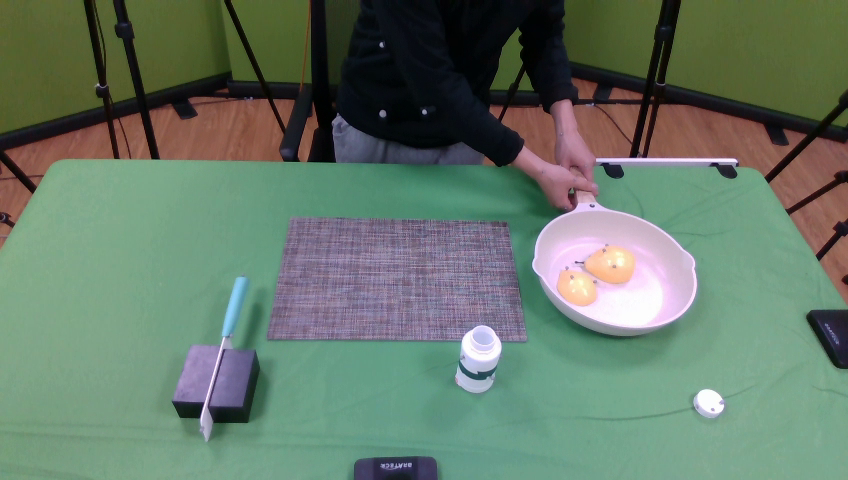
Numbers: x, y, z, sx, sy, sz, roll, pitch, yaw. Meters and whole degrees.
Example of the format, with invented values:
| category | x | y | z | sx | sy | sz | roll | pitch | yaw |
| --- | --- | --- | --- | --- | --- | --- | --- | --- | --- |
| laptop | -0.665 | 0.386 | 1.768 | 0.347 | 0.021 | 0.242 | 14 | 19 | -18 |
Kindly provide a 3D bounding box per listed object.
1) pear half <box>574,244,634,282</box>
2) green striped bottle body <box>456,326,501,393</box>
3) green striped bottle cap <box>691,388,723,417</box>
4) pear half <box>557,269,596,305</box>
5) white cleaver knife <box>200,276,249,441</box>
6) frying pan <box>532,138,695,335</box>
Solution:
| category | x | y | z | sx | sy | sz | roll | pitch | yaw |
| --- | --- | --- | --- | --- | --- | --- | --- | --- | --- |
| pear half | 0.346 | 0.037 | 1.165 | 0.110 | 0.056 | 0.076 | 3 | 40 | 3 |
| green striped bottle body | 0.086 | 0.185 | 0.959 | 0.063 | 0.120 | 0.063 | 2 | 46 | -2 |
| green striped bottle cap | 0.460 | 0.263 | 0.984 | 0.044 | 0.020 | 0.044 | 3 | 47 | -3 |
| pear half | 0.286 | 0.079 | 1.134 | 0.070 | 0.031 | 0.087 | -12 | 52 | -21 |
| white cleaver knife | -0.321 | 0.177 | 0.972 | 0.021 | 0.066 | 0.284 | 7 | 48 | -5 |
| frying pan | 0.336 | -0.024 | 1.190 | 0.307 | 0.103 | 0.484 | -2 | 55 | -7 |
